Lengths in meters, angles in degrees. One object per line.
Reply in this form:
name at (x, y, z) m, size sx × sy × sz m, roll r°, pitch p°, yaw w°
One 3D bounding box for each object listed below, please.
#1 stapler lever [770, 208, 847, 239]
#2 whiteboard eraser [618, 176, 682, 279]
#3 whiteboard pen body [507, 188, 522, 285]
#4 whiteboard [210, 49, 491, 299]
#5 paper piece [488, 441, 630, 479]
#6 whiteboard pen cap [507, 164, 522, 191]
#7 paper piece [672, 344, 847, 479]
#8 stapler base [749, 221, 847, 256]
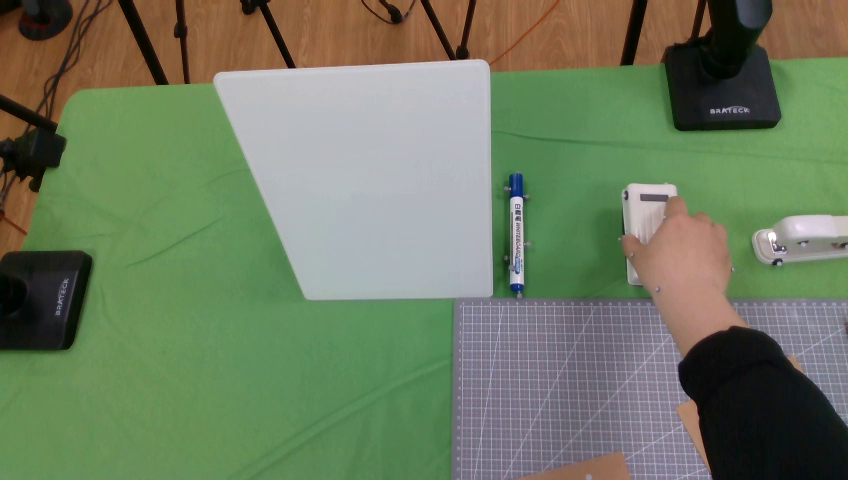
stapler lever at (0.425, -0.019, 0.634) m, size 0.118 × 0.040 × 0.026 m, roll -6°, pitch 71°, yaw 3°
whiteboard eraser at (0.243, -0.013, 0.655) m, size 0.055 × 0.042 × 0.112 m, roll 0°, pitch 71°, yaw 5°
whiteboard pen body at (0.103, -0.017, 0.695) m, size 0.017 × 0.017 × 0.140 m, roll 1°, pitch 69°, yaw 6°
whiteboard at (-0.042, -0.087, 0.615) m, size 0.217 × 0.308 × 0.142 m, roll -1°, pitch 49°, yaw 6°
paper piece at (0.144, 0.277, 0.581) m, size 0.135 × 0.004 × 0.134 m, roll -14°, pitch 69°, yaw 0°
whiteboard pen cap at (0.108, -0.071, 0.715) m, size 0.018 × 0.018 × 0.033 m, roll -2°, pitch 67°, yaw 5°
paper piece at (0.338, 0.191, 0.594) m, size 0.136 × 0.009 × 0.137 m, roll -23°, pitch 70°, yaw 1°
stapler base at (0.426, -0.010, 0.656) m, size 0.130 × 0.024 × 0.041 m, roll -6°, pitch 71°, yaw 2°
